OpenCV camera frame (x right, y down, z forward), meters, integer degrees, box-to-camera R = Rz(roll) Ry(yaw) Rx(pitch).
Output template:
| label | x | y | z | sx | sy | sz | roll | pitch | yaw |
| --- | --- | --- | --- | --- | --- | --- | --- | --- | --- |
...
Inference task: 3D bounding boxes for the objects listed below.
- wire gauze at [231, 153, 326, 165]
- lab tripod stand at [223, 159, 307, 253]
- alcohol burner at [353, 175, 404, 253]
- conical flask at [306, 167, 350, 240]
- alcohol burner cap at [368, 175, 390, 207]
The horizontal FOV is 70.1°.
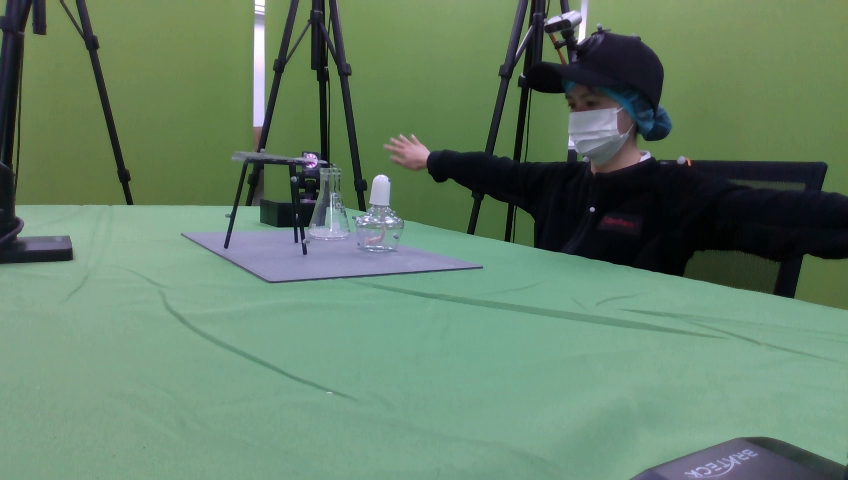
| label | x | y | z | sx | sy | sz | roll | pitch | yaw |
| --- | --- | --- | --- | --- | --- | --- | --- | --- | --- |
| wire gauze | -0.215 | -0.118 | 0.882 | 0.125 | 0.011 | 0.121 | 1 | 7 | -19 |
| lab tripod stand | -0.220 | -0.053 | 0.896 | 0.148 | 0.131 | 0.148 | 1 | 6 | 0 |
| alcohol burner | -0.070 | -0.040 | 0.926 | 0.078 | 0.119 | 0.078 | 1 | 9 | 0 |
| conical flask | -0.164 | -0.063 | 1.042 | 0.075 | 0.122 | 0.075 | 3 | 7 | 0 |
| alcohol burner cap | -0.067 | -0.075 | 0.923 | 0.034 | 0.048 | 0.034 | 8 | 11 | -1 |
